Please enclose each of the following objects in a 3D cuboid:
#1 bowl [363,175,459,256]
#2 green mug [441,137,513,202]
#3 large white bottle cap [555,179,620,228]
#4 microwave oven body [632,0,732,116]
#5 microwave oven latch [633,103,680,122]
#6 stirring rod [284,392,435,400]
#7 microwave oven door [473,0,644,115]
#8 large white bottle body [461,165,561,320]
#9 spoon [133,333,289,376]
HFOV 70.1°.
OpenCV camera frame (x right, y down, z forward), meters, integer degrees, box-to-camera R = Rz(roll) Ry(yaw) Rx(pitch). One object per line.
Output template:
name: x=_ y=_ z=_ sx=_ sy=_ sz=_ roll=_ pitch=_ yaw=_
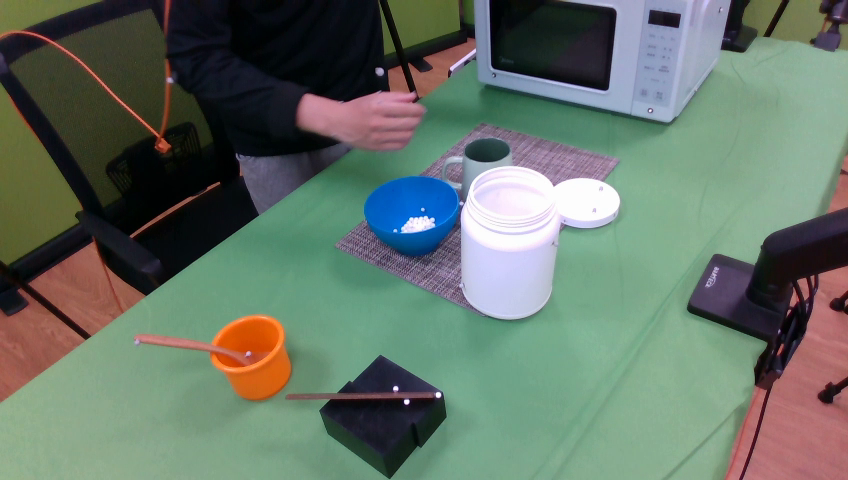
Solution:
bowl: x=-0.016 y=-0.028 z=0.955 sx=0.151 sy=0.077 sz=0.150 roll=-4 pitch=40 yaw=4
green mug: x=0.090 y=-0.107 z=1.012 sx=0.125 sy=0.105 sz=0.092 roll=2 pitch=42 yaw=11
large white bottle cap: x=0.265 y=-0.062 z=1.001 sx=0.115 sy=0.018 sz=0.114 roll=-3 pitch=41 yaw=3
microwave oven body: x=0.377 y=-0.463 z=1.267 sx=0.438 sy=0.261 sz=0.327 roll=21 pitch=49 yaw=30
microwave oven latch: x=0.443 y=-0.249 z=1.157 sx=0.078 sy=0.029 sz=0.030 roll=20 pitch=48 yaw=29
stirring rod: x=-0.075 y=0.180 z=0.698 sx=0.176 sy=0.006 sz=0.014 roll=-2 pitch=6 yaw=6
microwave oven door: x=0.257 y=-0.396 z=1.199 sx=0.353 sy=0.245 sz=0.039 roll=21 pitch=48 yaw=29
large white bottle body: x=0.115 y=0.004 z=0.816 sx=0.130 sy=0.185 sz=0.130 roll=-2 pitch=43 yaw=2
spoon: x=-0.257 y=0.137 z=0.747 sx=0.021 sy=0.195 sz=0.041 roll=-47 pitch=40 yaw=23
